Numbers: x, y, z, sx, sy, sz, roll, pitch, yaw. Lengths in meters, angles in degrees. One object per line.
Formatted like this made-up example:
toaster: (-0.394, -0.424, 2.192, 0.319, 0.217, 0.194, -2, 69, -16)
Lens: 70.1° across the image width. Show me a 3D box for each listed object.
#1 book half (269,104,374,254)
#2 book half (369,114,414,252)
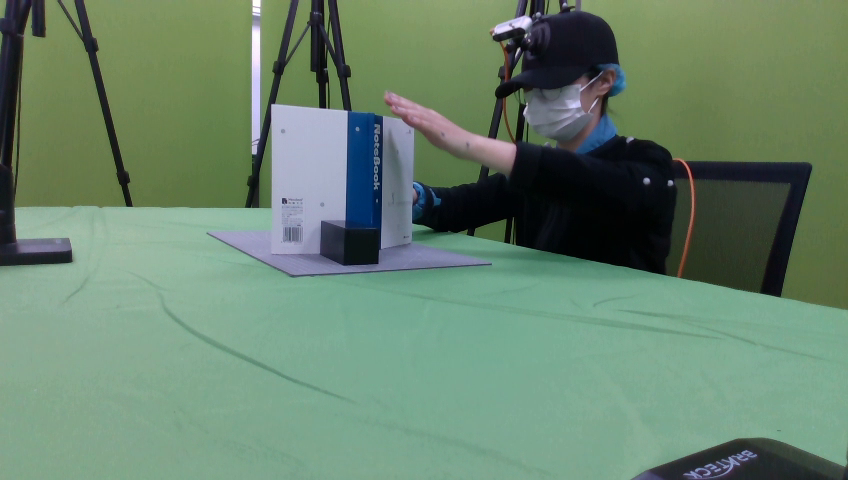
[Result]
book half: (-0.148, -0.084, 0.877, 0.149, 0.210, 0.016, 0, 7, -22)
book half: (-0.053, -0.092, 0.974, 0.007, 0.210, 0.144, 5, 7, 27)
